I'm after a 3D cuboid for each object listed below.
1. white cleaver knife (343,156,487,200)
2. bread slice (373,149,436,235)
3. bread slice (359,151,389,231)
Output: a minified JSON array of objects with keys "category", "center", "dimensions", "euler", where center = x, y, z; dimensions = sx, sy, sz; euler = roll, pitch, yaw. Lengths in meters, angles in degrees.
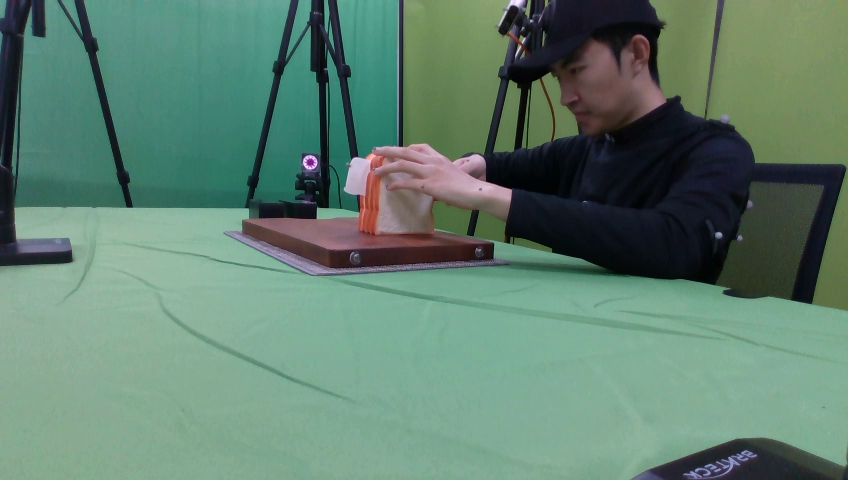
[{"category":"white cleaver knife","center":[-0.009,-0.088,1.011],"dimensions":[0.288,0.066,0.021],"euler":[6,3,-35]},{"category":"bread slice","center":[-0.031,-0.073,0.938],"dimensions":[0.107,0.134,0.018],"euler":[-4,9,-33]},{"category":"bread slice","center":[-0.059,-0.079,0.986],"dimensions":[0.105,0.131,0.019],"euler":[0,2,-37]}]
